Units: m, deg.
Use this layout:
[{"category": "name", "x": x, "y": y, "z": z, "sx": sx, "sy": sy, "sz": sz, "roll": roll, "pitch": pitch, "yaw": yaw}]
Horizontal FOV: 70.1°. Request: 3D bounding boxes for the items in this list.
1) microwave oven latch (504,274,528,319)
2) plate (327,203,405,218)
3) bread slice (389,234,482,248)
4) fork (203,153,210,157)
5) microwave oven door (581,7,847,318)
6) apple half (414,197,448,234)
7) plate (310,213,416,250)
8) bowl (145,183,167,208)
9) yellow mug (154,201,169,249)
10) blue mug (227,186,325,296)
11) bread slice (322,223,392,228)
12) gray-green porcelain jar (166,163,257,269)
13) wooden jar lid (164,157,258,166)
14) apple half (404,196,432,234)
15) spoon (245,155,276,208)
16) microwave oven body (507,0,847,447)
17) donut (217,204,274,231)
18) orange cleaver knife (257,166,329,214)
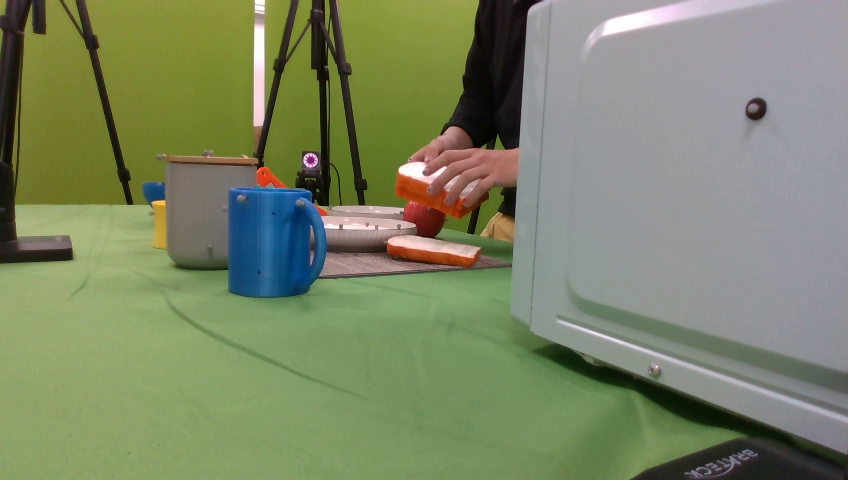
[{"category": "microwave oven latch", "x": 0.100, "y": 0.041, "z": 0.470, "sx": 0.079, "sy": 0.029, "sz": 0.030, "roll": -1, "pitch": 7, "yaw": -27}, {"category": "plate", "x": -0.102, "y": -0.053, "z": 1.299, "sx": 0.209, "sy": 0.038, "sz": 0.209, "roll": 2, "pitch": 8, "yaw": 0}, {"category": "bread slice", "x": 0.016, "y": 0.002, "z": 0.873, "sx": 0.131, "sy": 0.019, "sz": 0.105, "roll": 0, "pitch": -1, "yaw": 2}, {"category": "fork", "x": -0.480, "y": -0.135, "z": 1.411, "sx": 0.028, "sy": 0.018, "sz": 0.207, "roll": 1, "pitch": -34, "yaw": -1}, {"category": "microwave oven door", "x": 0.295, "y": -0.067, "z": 0.569, "sx": 0.358, "sy": 0.243, "sz": 0.039, "roll": -3, "pitch": 8, "yaw": -31}, {"category": "apple half", "x": 0.021, "y": -0.044, "z": 1.121, "sx": 0.082, "sy": 0.081, "sz": 0.032, "roll": -4, "pitch": 4, "yaw": -39}, {"category": "plate", "x": -0.117, "y": -0.014, "z": 0.967, "sx": 0.208, "sy": 0.039, "sz": 0.207, "roll": 2, "pitch": 7, "yaw": 0}, {"category": "bowl", "x": -0.459, "y": -0.068, "z": 1.175, "sx": 0.151, "sy": 0.077, "sz": 0.151, "roll": 3, "pitch": 8, "yaw": 0}, {"category": "yellow mug", "x": -0.337, "y": -0.022, "z": 0.899, "sx": 0.130, "sy": 0.064, "sz": 0.100, "roll": 8, "pitch": 9, "yaw": 34}, {"category": "blue mug", "x": -0.146, "y": 0.000, "z": 0.618, "sx": 0.116, "sy": 0.106, "sz": 0.083, "roll": 7, "pitch": 9, "yaw": 32}, {"category": "bread slice", "x": -0.116, "y": -0.014, "z": 0.975, "sx": 0.135, "sy": 0.018, "sz": 0.106, "roll": -6, "pitch": 11, "yaw": -42}, {"category": "gray-green porcelain jar", "x": -0.263, "y": -0.031, "z": 0.754, "sx": 0.106, "sy": 0.126, "sz": 0.106, "roll": 2, "pitch": 7, "yaw": 0}, {"category": "wooden jar lid", "x": -0.261, "y": -0.093, "z": 0.746, "sx": 0.108, "sy": 0.020, "sz": 0.108, "roll": 0, "pitch": 9, "yaw": 0}, {"category": "apple half", "x": -0.006, "y": -0.048, "z": 1.150, "sx": 0.081, "sy": 0.074, "sz": 0.053, "roll": -7, "pitch": 7, "yaw": -40}, {"category": "spoon", "x": -0.421, "y": -0.150, "z": 1.540, "sx": 0.042, "sy": 0.193, "sz": 0.021, "roll": -5, "pitch": -35, "yaw": -37}, {"category": "microwave oven body", "x": 0.331, "y": -0.042, "z": 0.425, "sx": 0.444, "sy": 0.260, "sz": 0.324, "roll": -2, "pitch": 8, "yaw": -31}, {"category": "donut", "x": -0.318, "y": -0.038, "z": 1.080, "sx": 0.099, "sy": 0.048, "sz": 0.099, "roll": 3, "pitch": 7, "yaw": 0}, {"category": "orange cleaver knife", "x": -0.295, "y": -0.086, "z": 1.333, "sx": 0.012, "sy": 0.077, "sz": 0.212, "roll": 2, "pitch": -24, "yaw": 46}]
